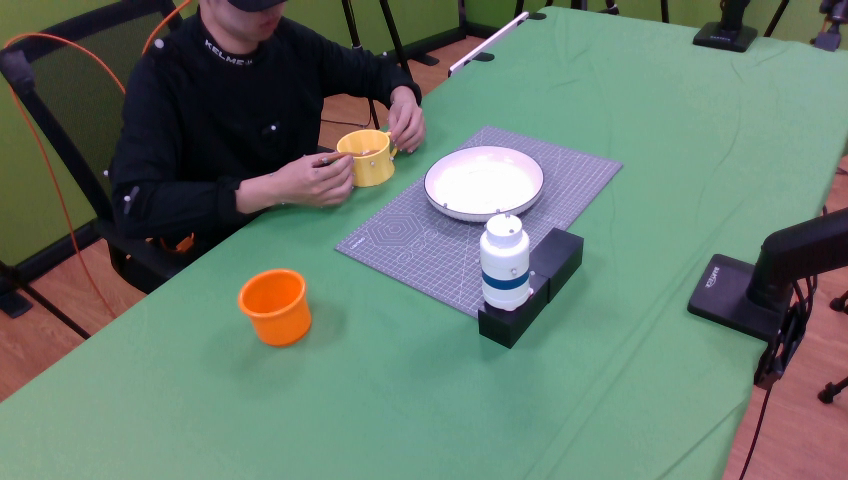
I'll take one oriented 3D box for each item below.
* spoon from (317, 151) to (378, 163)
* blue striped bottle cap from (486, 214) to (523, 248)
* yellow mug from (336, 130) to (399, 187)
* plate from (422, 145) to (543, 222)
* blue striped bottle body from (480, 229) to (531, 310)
[{"bbox_3d":[-0.132,-0.149,1.080,0.041,0.021,0.195,10,12,26],"label":"spoon"},{"bbox_3d":[0.098,-0.011,0.735,0.044,0.021,0.044,-3,38,2],"label":"blue striped bottle cap"},{"bbox_3d":[-0.099,-0.162,1.138,0.131,0.064,0.099,-34,47,-29],"label":"yellow mug"},{"bbox_3d":[0.101,-0.094,1.048,0.207,0.039,0.206,-4,41,4],"label":"plate"},{"bbox_3d":[0.104,0.027,0.769,0.063,0.121,0.063,-4,40,4],"label":"blue striped bottle body"}]
